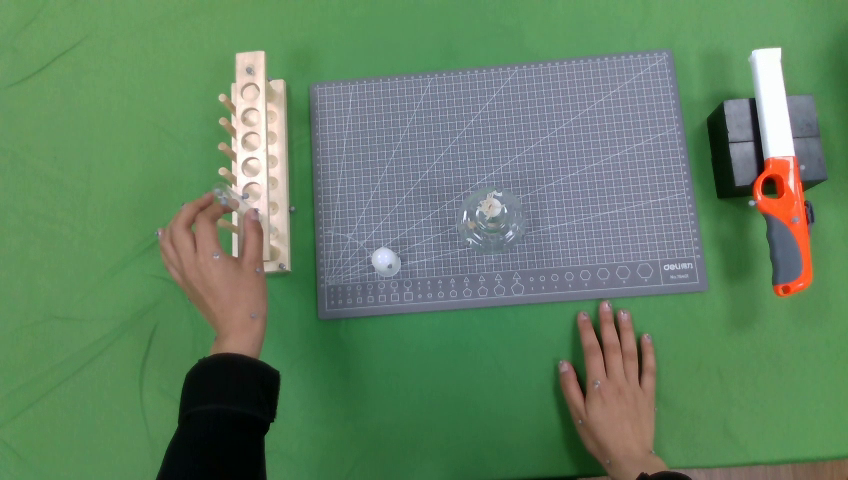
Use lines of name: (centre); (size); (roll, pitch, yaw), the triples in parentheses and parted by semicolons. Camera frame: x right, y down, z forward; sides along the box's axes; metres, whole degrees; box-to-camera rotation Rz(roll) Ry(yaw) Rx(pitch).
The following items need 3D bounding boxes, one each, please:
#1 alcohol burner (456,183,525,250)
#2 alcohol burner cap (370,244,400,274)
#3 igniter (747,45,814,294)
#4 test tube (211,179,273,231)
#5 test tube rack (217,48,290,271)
alcohol burner: (0.073, -0.029, 0.664); (0.078, 0.119, 0.077); (-1, 81, 5)
alcohol burner cap: (-0.047, 0.020, 0.699); (0.034, 0.048, 0.033); (-1, 79, 4)
igniter: (0.381, -0.080, 0.653); (0.057, 0.025, 0.275); (-2, 79, 8)
test tube: (-0.187, -0.033, 0.636); (0.017, 0.151, 0.017); (-1, 76, 3)
test tube rack: (-0.204, -0.090, 0.709); (0.067, 0.085, 0.241); (-4, 80, 3)
